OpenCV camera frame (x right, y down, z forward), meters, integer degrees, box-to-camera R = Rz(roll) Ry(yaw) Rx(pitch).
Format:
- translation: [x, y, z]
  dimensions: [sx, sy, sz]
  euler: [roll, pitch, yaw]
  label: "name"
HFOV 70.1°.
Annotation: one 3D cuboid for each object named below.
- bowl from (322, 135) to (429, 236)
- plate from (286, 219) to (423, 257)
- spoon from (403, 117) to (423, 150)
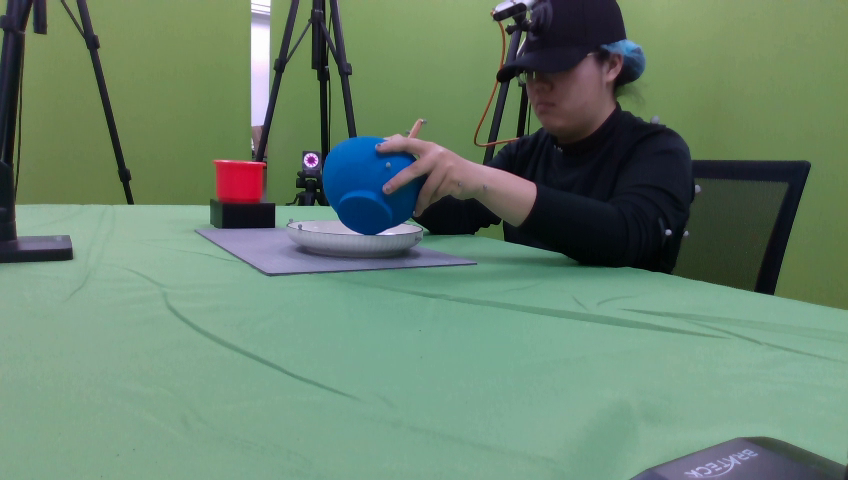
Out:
- translation: [-0.074, -0.059, 0.824]
  dimensions: [0.151, 0.151, 0.077]
  euler: [3, 48, 9]
  label: "bowl"
- translation: [-0.105, -0.003, 0.922]
  dimensions: [0.208, 0.039, 0.207]
  euler: [3, 7, 0]
  label: "plate"
- translation: [-0.047, -0.111, 0.908]
  dimensions: [0.041, 0.194, 0.022]
  euler: [2, -38, 47]
  label: "spoon"
